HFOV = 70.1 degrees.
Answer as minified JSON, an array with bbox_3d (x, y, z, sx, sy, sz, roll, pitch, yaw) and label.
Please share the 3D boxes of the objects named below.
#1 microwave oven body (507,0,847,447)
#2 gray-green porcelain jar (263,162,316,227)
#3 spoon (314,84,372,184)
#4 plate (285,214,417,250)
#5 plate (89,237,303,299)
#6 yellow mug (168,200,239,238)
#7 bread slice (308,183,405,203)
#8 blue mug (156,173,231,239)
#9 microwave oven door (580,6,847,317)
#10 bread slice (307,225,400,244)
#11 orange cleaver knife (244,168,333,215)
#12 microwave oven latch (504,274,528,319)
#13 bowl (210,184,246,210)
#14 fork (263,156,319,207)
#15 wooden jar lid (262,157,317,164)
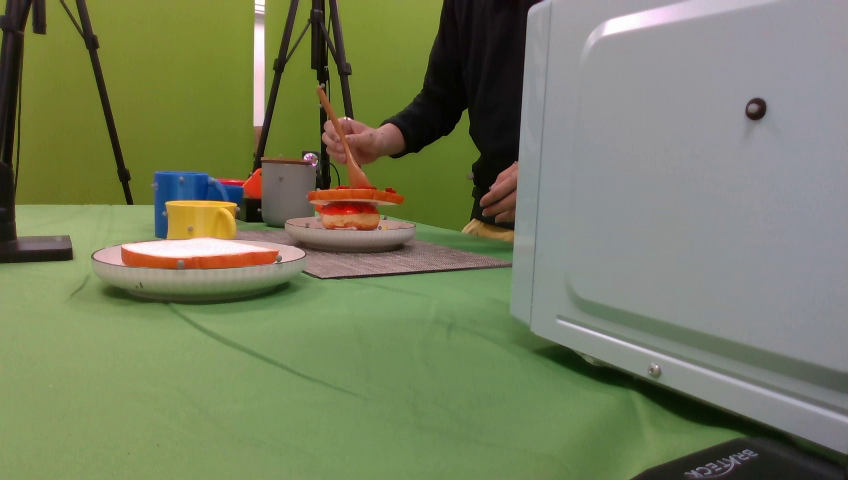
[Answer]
[{"bbox_3d":[0.331,-0.042,0.425,0.444,0.260,0.324,-2,8,-31],"label":"microwave oven body"},{"bbox_3d":[-0.271,-0.092,1.217,0.106,0.126,0.106,2,7,0],"label":"gray-green porcelain jar"},{"bbox_3d":[-0.134,-0.163,0.986,0.041,0.193,0.022,-18,8,41],"label":"spoon"},{"bbox_3d":[-0.116,-0.014,0.964,0.209,0.038,0.209,2,7,0],"label":"plate"},{"bbox_3d":[-0.233,0.029,0.637,0.208,0.039,0.207,2,7,0],"label":"plate"},{"bbox_3d":[-0.320,-0.023,0.904,0.130,0.064,0.100,9,11,36],"label":"yellow mug"},{"bbox_3d":[-0.113,-0.072,0.953,0.134,0.018,0.107,-3,-3,22],"label":"bread slice"},{"bbox_3d":[-0.381,-0.057,1.004,0.117,0.106,0.082,1,8,-12],"label":"blue mug"},{"bbox_3d":[0.295,-0.067,0.570,0.358,0.243,0.039,-3,9,-31],"label":"microwave oven door"},{"bbox_3d":[-0.103,-0.009,0.962,0.131,0.019,0.105,1,8,25],"label":"bread slice"},{"bbox_3d":[-0.300,-0.089,1.351,0.212,0.077,0.012,28,-9,-34],"label":"orange cleaver knife"},{"bbox_3d":[0.100,0.041,0.471,0.079,0.029,0.030,-1,7,-28],"label":"microwave oven latch"},{"bbox_3d":[-0.422,-0.067,1.166,0.151,0.077,0.151,2,7,0],"label":"bowl"},{"bbox_3d":[-0.331,-0.144,1.505,0.207,0.018,0.028,-42,-20,22],"label":"fork"},{"bbox_3d":[-0.269,-0.154,1.208,0.108,0.020,0.108,3,4,0],"label":"wooden jar lid"}]
